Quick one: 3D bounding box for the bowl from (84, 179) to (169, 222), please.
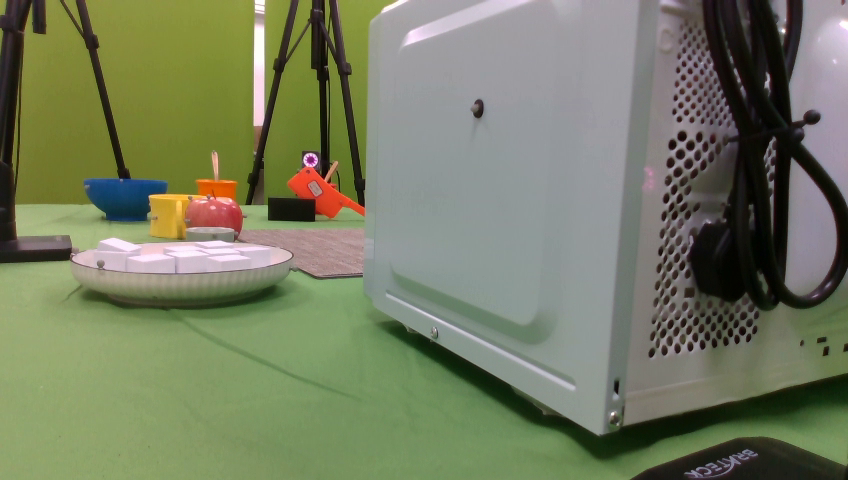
[{"bbox_3d":[-0.584,-0.078,1.194,0.151,0.077,0.151,3,8,0],"label":"bowl"}]

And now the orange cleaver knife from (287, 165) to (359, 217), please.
[{"bbox_3d":[-0.211,-0.093,1.382,0.212,0.077,0.012,33,1,-15],"label":"orange cleaver knife"}]

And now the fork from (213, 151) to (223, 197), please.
[{"bbox_3d":[-0.494,-0.143,1.442,0.028,0.018,0.206,-2,52,-20],"label":"fork"}]

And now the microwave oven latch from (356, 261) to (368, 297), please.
[{"bbox_3d":[-0.020,0.033,0.531,0.079,0.029,0.030,-1,7,-27],"label":"microwave oven latch"}]

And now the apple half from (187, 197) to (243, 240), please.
[{"bbox_3d":[-0.305,-0.026,0.907,0.053,0.074,0.081,12,8,31],"label":"apple half"}]

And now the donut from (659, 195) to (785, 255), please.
[{"bbox_3d":[0.252,-0.012,0.517,0.099,0.048,0.099,4,8,0],"label":"donut"}]

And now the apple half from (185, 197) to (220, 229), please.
[{"bbox_3d":[-0.338,-0.031,0.927,0.032,0.081,0.081,12,12,31],"label":"apple half"}]

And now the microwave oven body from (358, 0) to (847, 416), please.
[{"bbox_3d":[0.211,-0.047,0.475,0.444,0.260,0.324,-1,7,-28],"label":"microwave oven body"}]

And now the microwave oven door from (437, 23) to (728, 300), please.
[{"bbox_3d":[0.180,-0.072,0.621,0.358,0.243,0.039,-2,8,-29],"label":"microwave oven door"}]

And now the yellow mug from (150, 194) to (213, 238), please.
[{"bbox_3d":[-0.401,-0.040,1.003,0.100,0.064,0.130,-1,9,-20],"label":"yellow mug"}]

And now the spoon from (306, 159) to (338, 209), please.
[{"bbox_3d":[-0.257,-0.147,1.567,0.041,0.022,0.193,2,51,20],"label":"spoon"}]

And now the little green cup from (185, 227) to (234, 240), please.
[{"bbox_3d":[-0.285,0.005,0.805,0.061,0.038,0.061,2,8,0],"label":"little green cup"}]

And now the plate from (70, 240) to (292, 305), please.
[{"bbox_3d":[-0.242,0.031,0.618,0.208,0.039,0.207,2,8,0],"label":"plate"}]

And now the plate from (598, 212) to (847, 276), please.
[{"bbox_3d":[0.255,0.001,0.518,0.209,0.038,0.209,2,6,0],"label":"plate"}]
